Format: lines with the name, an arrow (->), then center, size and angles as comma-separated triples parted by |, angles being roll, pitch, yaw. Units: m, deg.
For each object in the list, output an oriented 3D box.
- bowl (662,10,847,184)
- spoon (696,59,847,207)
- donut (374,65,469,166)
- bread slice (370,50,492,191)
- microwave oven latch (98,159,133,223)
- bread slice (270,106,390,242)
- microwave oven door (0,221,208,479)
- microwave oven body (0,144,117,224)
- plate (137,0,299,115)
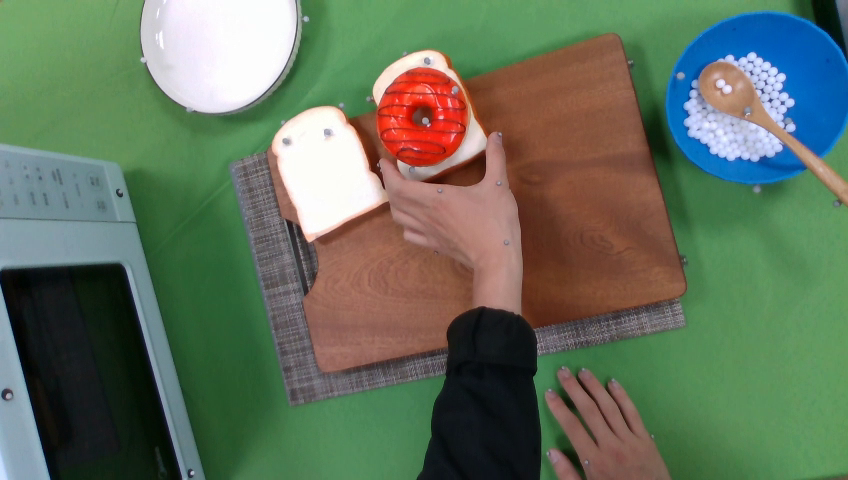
bowl -> 0.295, -0.123, 0.559 | 0.151, 0.077, 0.151 | 0, 91, 14
spoon -> 0.311, -0.088, 0.524 | 0.041, 0.022, 0.192 | -42, 63, 16
donut -> -0.003, -0.124, 0.606 | 0.099, 0.048, 0.099 | 0, 91, 14
bread slice -> -0.002, -0.131, 0.636 | 0.105, 0.019, 0.131 | -25, 84, 12
microwave oven latch -> -0.382, -0.058, 0.735 | 0.030, 0.029, 0.079 | -17, 88, 13
bread slice -> -0.111, -0.076, 0.664 | 0.107, 0.018, 0.134 | -29, 83, 12
microwave oven door -> -0.348, 0.153, 0.627 | 0.039, 0.244, 0.355 | -18, 87, 14
microwave oven body -> -0.494, 0.155, 0.669 | 0.325, 0.261, 0.441 | -17, 88, 13
plate -> -0.238, -0.249, 0.713 | 0.207, 0.039, 0.207 | 0, 92, 14
